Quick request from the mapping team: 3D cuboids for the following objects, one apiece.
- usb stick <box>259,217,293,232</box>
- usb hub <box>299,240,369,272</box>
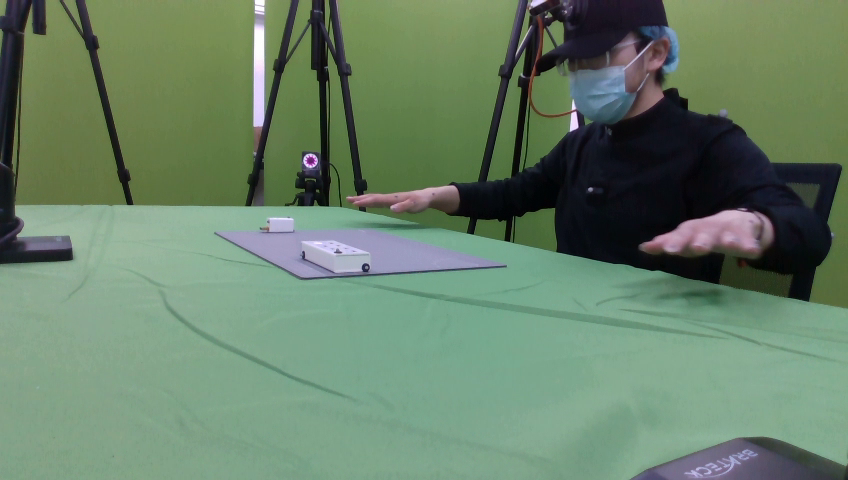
[{"bbox_3d":[-0.268,-0.028,1.093,0.059,0.027,0.021,-5,12,-32],"label":"usb stick"},{"bbox_3d":[-0.119,0.019,0.782,0.050,0.025,0.124,-2,8,-31],"label":"usb hub"}]
